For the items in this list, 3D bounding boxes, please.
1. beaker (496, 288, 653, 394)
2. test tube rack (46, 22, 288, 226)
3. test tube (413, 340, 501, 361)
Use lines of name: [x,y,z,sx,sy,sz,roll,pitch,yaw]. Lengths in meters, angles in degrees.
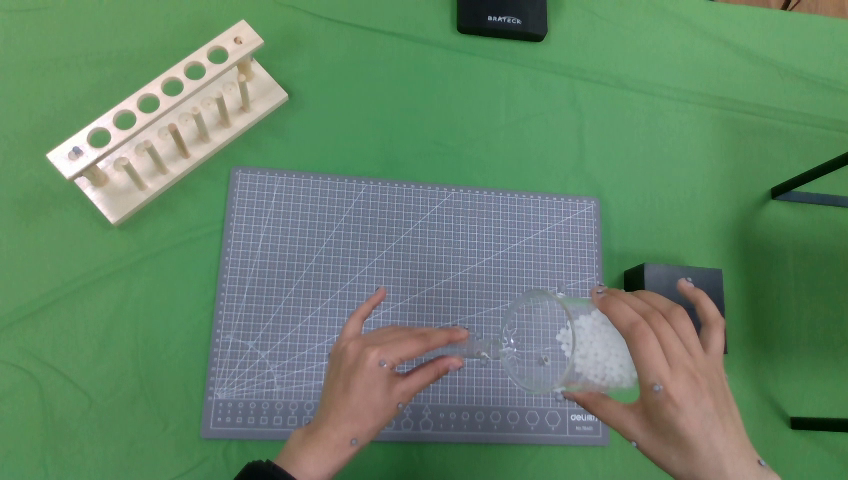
beaker: [0.115,0.080,0.459,0.101,0.084,0.073,11,67,-34]
test tube rack: [-0.266,-0.125,0.658,0.242,0.085,0.066,-42,86,-17]
test tube: [0.024,0.097,0.531,0.017,0.150,0.017,4,79,-23]
